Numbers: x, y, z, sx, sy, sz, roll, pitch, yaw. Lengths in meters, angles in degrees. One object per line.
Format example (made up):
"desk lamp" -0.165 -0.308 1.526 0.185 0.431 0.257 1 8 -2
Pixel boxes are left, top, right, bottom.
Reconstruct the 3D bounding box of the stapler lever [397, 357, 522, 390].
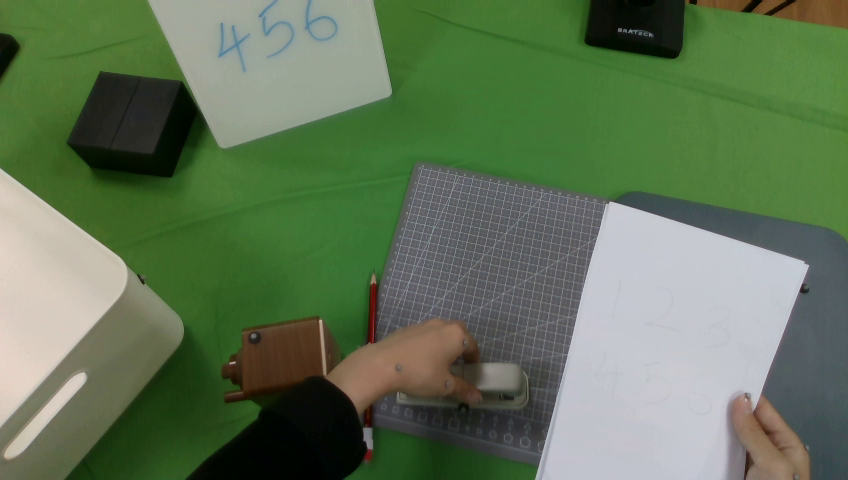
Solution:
"stapler lever" 0.033 0.125 0.567 0.118 0.040 0.026 1 63 3

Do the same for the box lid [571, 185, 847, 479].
"box lid" 0.295 0.122 0.604 0.263 0.015 0.369 12 67 4

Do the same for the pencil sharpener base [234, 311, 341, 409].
"pencil sharpener base" -0.123 0.114 0.558 0.077 0.108 0.061 -9 66 -3

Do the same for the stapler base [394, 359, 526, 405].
"stapler base" 0.035 0.136 0.590 0.130 0.024 0.041 2 63 3

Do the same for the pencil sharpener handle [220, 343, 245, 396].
"pencil sharpener handle" -0.173 0.120 0.542 0.031 0.068 0.035 -9 50 -3

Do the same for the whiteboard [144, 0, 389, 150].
"whiteboard" -0.185 -0.290 0.661 0.217 0.308 0.142 -20 48 -7

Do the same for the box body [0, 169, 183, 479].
"box body" -0.444 0.059 0.554 0.362 0.161 0.253 32 70 13

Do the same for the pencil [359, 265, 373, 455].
"pencil" -0.057 0.115 0.609 0.012 0.012 0.192 -1 66 1
